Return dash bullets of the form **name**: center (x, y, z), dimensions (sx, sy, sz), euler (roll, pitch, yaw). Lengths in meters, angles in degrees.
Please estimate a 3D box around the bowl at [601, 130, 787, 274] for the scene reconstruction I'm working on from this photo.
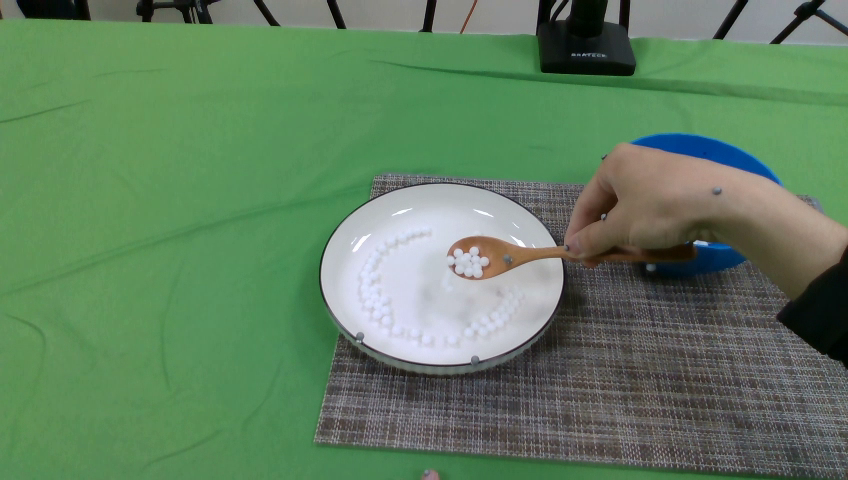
- **bowl**: center (0.228, -0.023, 0.543), dimensions (0.151, 0.077, 0.150), euler (0, 47, 0)

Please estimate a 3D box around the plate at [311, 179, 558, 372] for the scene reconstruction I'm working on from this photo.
- **plate**: center (0.009, 0.029, 0.524), dimensions (0.208, 0.039, 0.205), euler (0, 47, 0)

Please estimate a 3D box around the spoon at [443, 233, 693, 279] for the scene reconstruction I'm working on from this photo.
- **spoon**: center (0.098, 0.010, 0.454), dimensions (0.192, 0.022, 0.041), euler (-3, 58, 38)
